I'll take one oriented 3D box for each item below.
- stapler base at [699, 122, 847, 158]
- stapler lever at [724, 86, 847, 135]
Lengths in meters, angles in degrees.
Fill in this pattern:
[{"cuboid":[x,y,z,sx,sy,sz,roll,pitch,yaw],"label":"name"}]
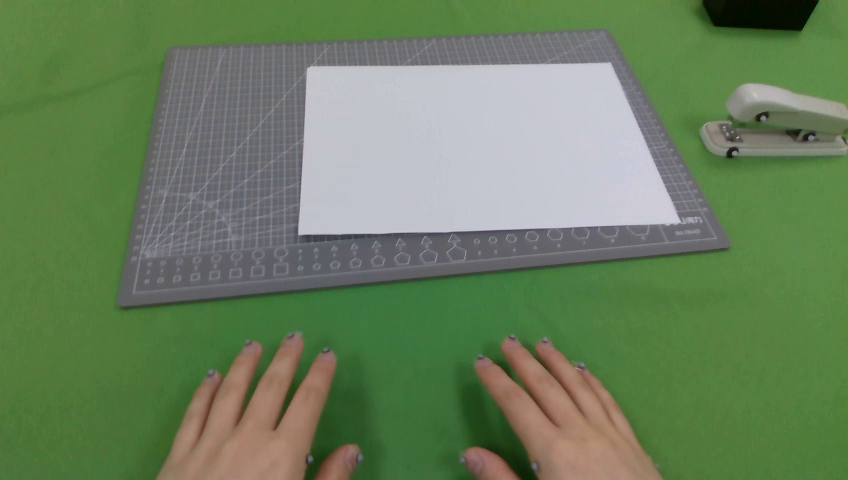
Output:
[{"cuboid":[0.317,-0.096,0.544,0.131,0.024,0.041,-1,54,-6],"label":"stapler base"},{"cuboid":[0.319,-0.112,0.525,0.118,0.040,0.026,-1,54,-5],"label":"stapler lever"}]
